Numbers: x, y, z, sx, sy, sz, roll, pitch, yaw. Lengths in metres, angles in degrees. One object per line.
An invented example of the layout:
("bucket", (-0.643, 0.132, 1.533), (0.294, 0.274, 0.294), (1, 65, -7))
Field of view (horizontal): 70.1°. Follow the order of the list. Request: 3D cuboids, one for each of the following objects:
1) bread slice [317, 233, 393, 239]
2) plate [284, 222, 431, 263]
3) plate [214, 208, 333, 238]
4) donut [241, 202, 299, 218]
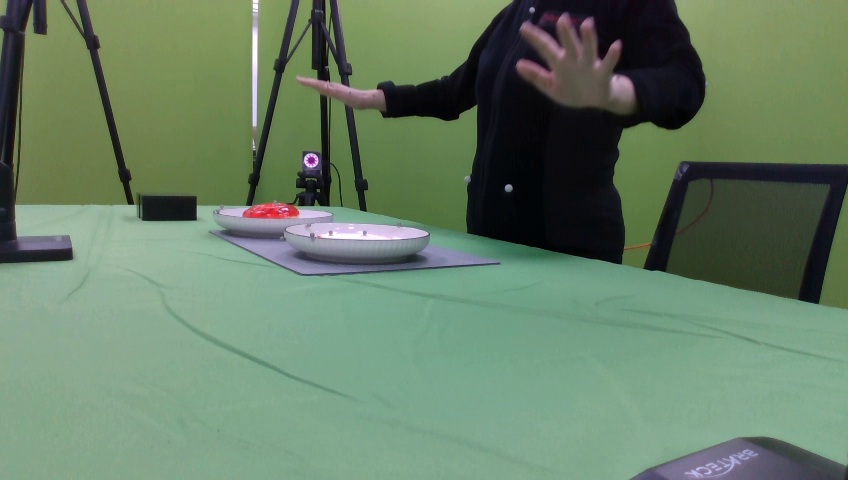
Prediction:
("bread slice", (-0.096, 0.005, 0.863), (0.107, 0.018, 0.133), (-1, 8, -31))
("plate", (-0.094, 0.003, 0.868), (0.209, 0.038, 0.209), (2, 7, 0))
("plate", (-0.268, -0.032, 1.085), (0.208, 0.039, 0.207), (2, 7, 0))
("donut", (-0.270, -0.040, 1.057), (0.099, 0.048, 0.099), (0, 11, 0))
